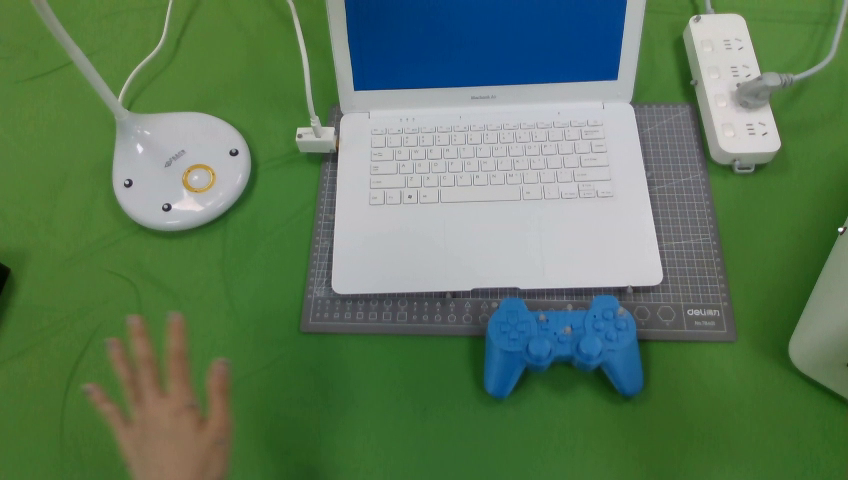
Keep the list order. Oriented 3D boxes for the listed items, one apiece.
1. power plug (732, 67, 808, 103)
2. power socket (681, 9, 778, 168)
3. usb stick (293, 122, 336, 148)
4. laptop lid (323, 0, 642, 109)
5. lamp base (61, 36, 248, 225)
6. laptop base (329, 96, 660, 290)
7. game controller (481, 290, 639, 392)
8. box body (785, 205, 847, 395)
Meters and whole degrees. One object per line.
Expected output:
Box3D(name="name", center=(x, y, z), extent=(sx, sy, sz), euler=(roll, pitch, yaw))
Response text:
Box3D(name="power plug", center=(0.393, -0.172, 0.695), extent=(0.072, 0.053, 0.035), euler=(10, 65, 6))
Box3D(name="power socket", center=(0.364, -0.191, 0.730), extent=(0.072, 0.033, 0.225), euler=(0, 65, 1))
Box3D(name="usb stick", center=(-0.123, -0.124, 0.717), extent=(0.059, 0.027, 0.021), euler=(2, 60, 0))
Box3D(name="laptop lid", center=(0.065, -0.260, 0.672), extent=(0.357, 0.244, 0.013), euler=(-3, 35, 3))
Box3D(name="lamp base", center=(-0.303, -0.127, 0.652), extent=(0.178, 0.182, 0.160), euler=(26, 69, 17))
Box3D(name="laptop base", center=(0.072, -0.057, 0.690), extent=(0.354, 0.023, 0.234), euler=(-2, 69, 2))
Box3D(name="game controller", center=(0.134, 0.098, 0.601), extent=(0.155, 0.052, 0.096), euler=(-1, 63, 2))
Box3D(name="box body", center=(0.539, 0.014, 0.557), extent=(0.253, 0.161, 0.363), euler=(32, 71, 16))
